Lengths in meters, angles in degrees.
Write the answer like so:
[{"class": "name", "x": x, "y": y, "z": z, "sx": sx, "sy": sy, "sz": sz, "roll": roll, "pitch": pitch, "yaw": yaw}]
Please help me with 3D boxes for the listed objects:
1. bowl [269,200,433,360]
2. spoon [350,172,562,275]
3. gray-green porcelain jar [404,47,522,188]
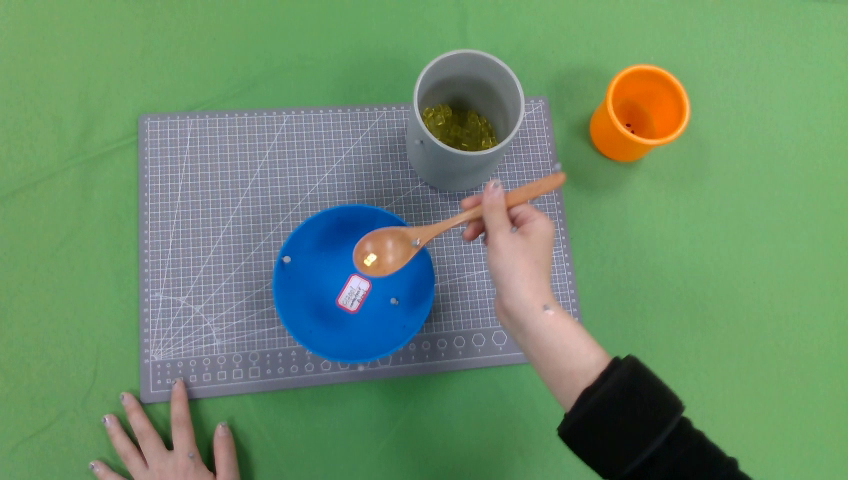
[{"class": "bowl", "x": -0.070, "y": 0.043, "z": 0.594, "sx": 0.151, "sy": 0.077, "sz": 0.150, "roll": 2, "pitch": 78, "yaw": -6}, {"class": "spoon", "x": 0.026, "y": -0.016, "z": 0.517, "sx": 0.193, "sy": 0.022, "sz": 0.041, "roll": -22, "pitch": 78, "yaw": 14}, {"class": "gray-green porcelain jar", "x": 0.034, "y": -0.116, "z": 0.615, "sx": 0.106, "sy": 0.127, "sz": 0.105, "roll": 1, "pitch": 77, "yaw": -6}]
